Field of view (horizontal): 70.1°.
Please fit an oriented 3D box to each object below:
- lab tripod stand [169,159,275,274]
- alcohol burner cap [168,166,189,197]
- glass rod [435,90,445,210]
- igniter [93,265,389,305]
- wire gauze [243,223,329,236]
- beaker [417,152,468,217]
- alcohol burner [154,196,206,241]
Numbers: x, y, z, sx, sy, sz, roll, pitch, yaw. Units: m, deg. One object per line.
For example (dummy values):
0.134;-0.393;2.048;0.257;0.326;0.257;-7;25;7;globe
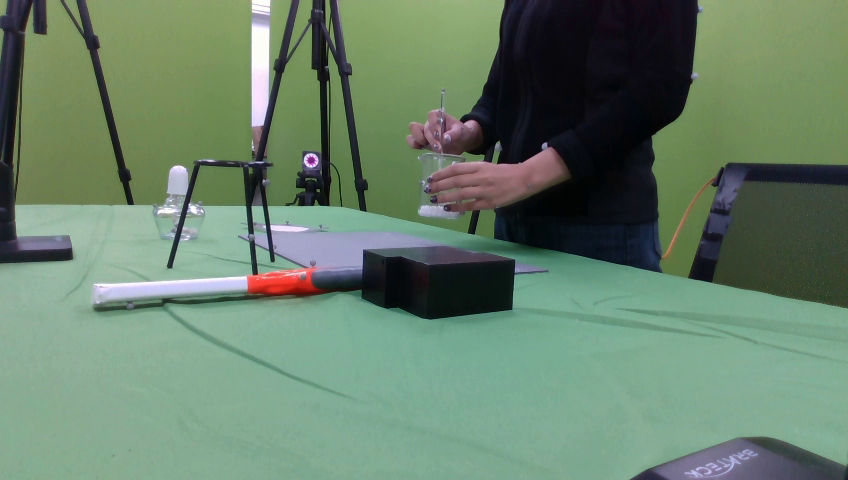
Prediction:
-0.230;-0.030;0.724;0.148;0.131;0.148;1;9;0;lab tripod stand
-0.392;-0.095;0.970;0.034;0.048;0.034;7;7;-1;alcohol burner cap
0.025;-0.147;0.981;0.008;0.199;0.008;3;-6;1;glass rod
-0.164;0.042;0.589;0.278;0.025;0.057;-2;-7;-31;igniter
-0.266;-0.024;1.156;0.124;0.011;0.122;12;12;40;wire gauze
0.026;-0.087;0.963;0.084;0.100;0.073;2;3;-22;beaker
-0.393;-0.059;0.974;0.078;0.119;0.078;1;8;0;alcohol burner
